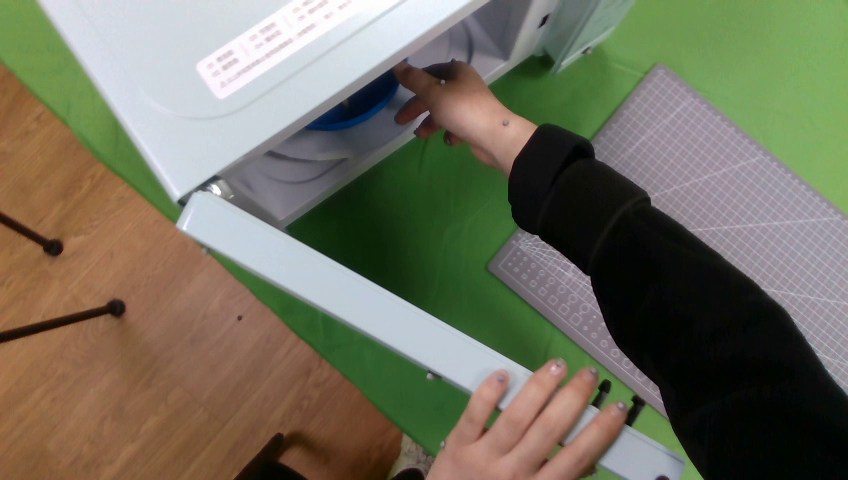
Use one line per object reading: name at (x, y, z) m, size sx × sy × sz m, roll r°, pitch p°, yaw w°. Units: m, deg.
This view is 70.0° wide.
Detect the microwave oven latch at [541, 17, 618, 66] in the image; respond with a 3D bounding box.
microwave oven latch at (0.164, -0.218, 0.638) m, size 0.079 × 0.029 × 0.030 m, roll -34°, pitch 86°, yaw -5°

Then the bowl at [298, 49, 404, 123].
bowl at (-0.092, -0.168, 0.555) m, size 0.151 × 0.077 × 0.151 m, roll 0°, pitch 80°, yaw -2°

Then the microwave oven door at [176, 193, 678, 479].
microwave oven door at (-0.001, 0.078, 0.495) m, size 0.356 × 0.244 × 0.039 m, roll 29°, pitch 82°, yaw 1°

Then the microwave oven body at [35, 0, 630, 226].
microwave oven body at (-0.064, -0.245, 0.534) m, size 0.441 × 0.260 × 0.325 m, roll -36°, pitch 86°, yaw -5°
